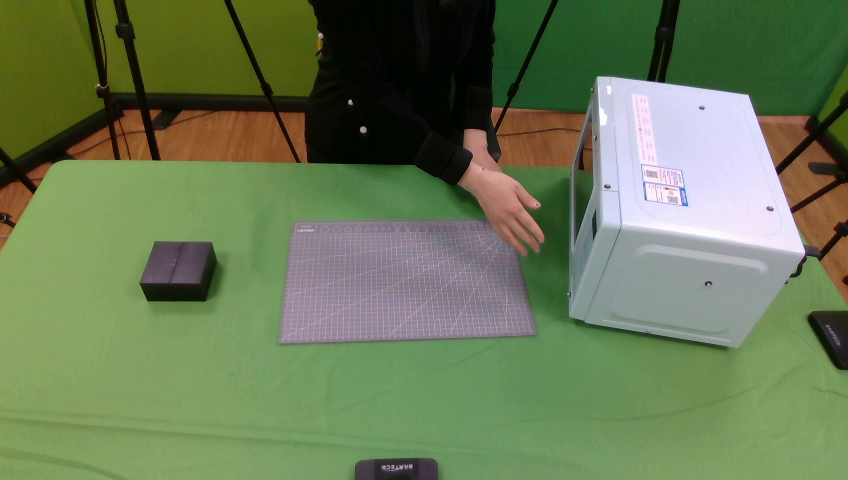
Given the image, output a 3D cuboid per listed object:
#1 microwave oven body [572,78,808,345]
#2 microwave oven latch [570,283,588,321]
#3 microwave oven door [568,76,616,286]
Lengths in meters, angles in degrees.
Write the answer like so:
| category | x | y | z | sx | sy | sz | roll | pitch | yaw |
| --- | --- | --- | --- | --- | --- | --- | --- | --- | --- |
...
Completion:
| category | x | y | z | sx | sy | sz | roll | pitch | yaw |
| --- | --- | --- | --- | --- | --- | --- | --- | --- | --- |
| microwave oven body | 0.456 | -0.063 | 1.124 | 0.326 | 0.261 | 0.439 | 8 | 45 | 5 |
| microwave oven latch | 0.276 | 0.105 | 1.082 | 0.030 | 0.029 | 0.079 | 10 | 45 | 7 |
| microwave oven door | 0.319 | -0.119 | 1.161 | 0.039 | 0.245 | 0.354 | 9 | 46 | 5 |
